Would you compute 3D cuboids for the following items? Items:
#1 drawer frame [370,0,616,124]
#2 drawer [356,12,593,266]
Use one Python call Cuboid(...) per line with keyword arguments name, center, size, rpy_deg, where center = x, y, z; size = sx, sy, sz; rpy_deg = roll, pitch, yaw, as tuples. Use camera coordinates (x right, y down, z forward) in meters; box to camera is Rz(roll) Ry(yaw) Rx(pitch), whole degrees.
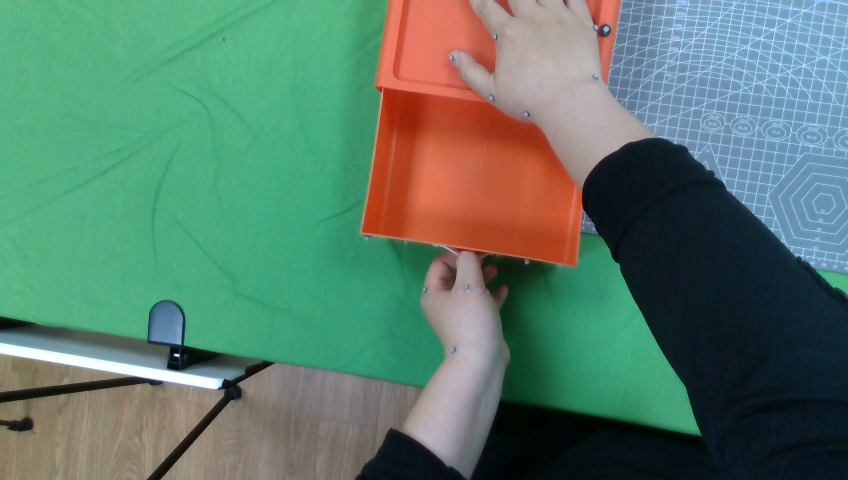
Cuboid(name="drawer frame", center=(0.069, -0.221, 0.549), size=(0.201, 0.083, 0.213), rpy_deg=(9, 94, 9))
Cuboid(name="drawer", center=(0.052, -0.091, 0.556), size=(0.194, 0.073, 0.211), rpy_deg=(8, 91, 9))
